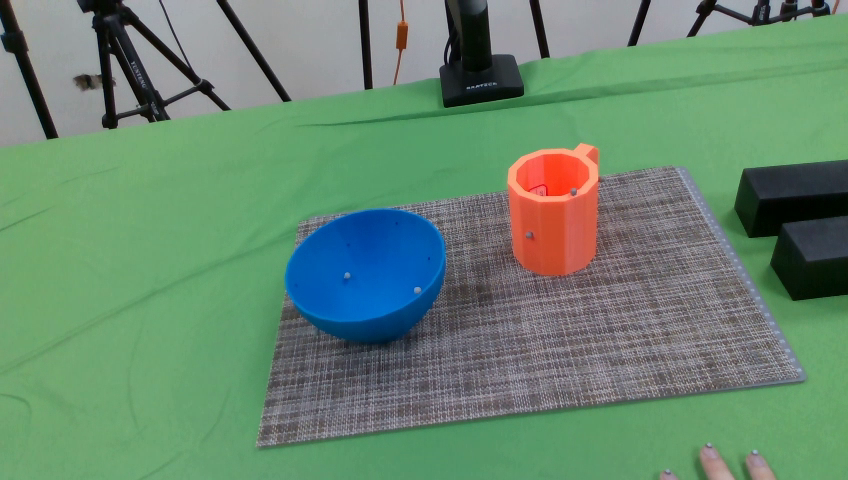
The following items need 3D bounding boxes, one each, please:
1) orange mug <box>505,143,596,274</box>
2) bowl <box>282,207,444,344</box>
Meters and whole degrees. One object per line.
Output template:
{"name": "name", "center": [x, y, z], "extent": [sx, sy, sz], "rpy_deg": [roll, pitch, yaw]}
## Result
{"name": "orange mug", "center": [0.138, -0.040, 0.614], "extent": [0.083, 0.102, 0.126], "rpy_deg": [23, 56, 33]}
{"name": "bowl", "center": [-0.050, 0.045, 0.577], "extent": [0.151, 0.077, 0.150], "rpy_deg": [-7, 41, 6]}
